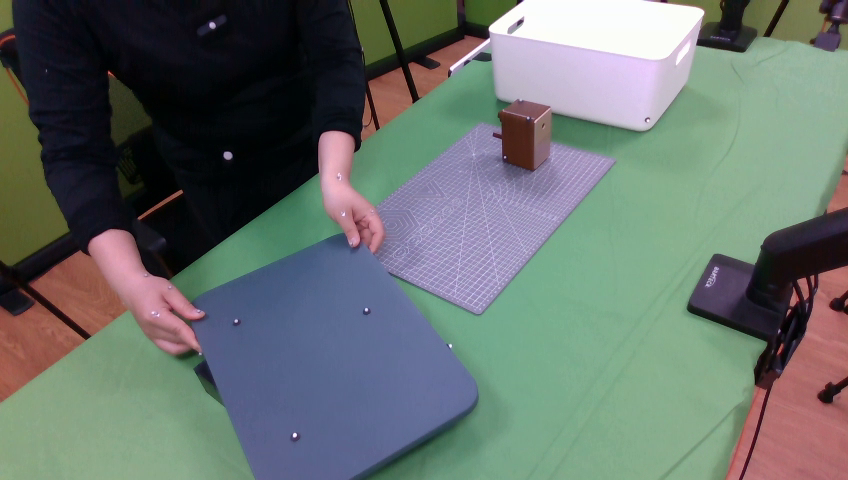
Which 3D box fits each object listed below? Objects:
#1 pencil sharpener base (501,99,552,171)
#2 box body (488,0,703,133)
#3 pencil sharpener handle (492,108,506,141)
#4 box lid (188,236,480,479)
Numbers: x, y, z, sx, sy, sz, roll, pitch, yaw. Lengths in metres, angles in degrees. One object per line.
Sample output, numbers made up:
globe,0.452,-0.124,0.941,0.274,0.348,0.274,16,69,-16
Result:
pencil sharpener base,0.184,-0.191,1.097,0.076,0.107,0.061,22,49,32
box body,0.346,-0.374,1.251,0.361,0.161,0.255,20,48,29
pencil sharpener handle,0.141,-0.216,1.114,0.030,0.068,0.036,22,42,32
box lid,-0.128,0.137,0.764,0.264,0.015,0.368,-25,44,-21
